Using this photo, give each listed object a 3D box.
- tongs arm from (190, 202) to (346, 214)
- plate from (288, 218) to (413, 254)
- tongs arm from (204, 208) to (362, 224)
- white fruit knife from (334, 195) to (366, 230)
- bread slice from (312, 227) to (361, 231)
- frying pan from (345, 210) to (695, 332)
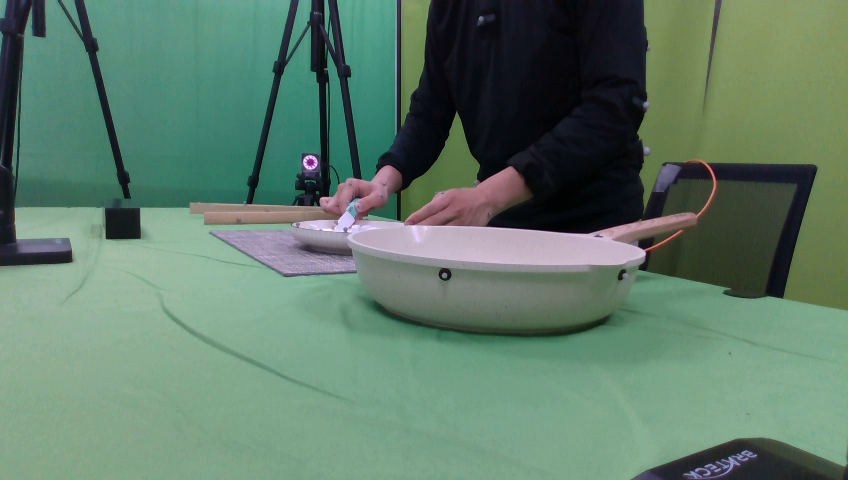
[{"bbox_3d":[-0.334,-0.068,1.403,0.387,0.026,0.050,0,9,-28],"label":"tongs arm"},{"bbox_3d":[-0.109,-0.007,0.956,0.208,0.039,0.207,2,7,0],"label":"plate"},{"bbox_3d":[-0.292,-0.054,1.337,0.390,0.028,0.028,-4,7,-40],"label":"tongs arm"},{"bbox_3d":[-0.122,-0.045,0.994,0.016,0.027,0.207,-29,12,12],"label":"white fruit knife"},{"bbox_3d":[-0.115,-0.006,0.950,0.134,0.018,0.107,2,6,-7],"label":"bread slice"},{"bbox_3d":[0.153,0.009,0.668,0.490,0.102,0.305,-12,15,-32],"label":"frying pan"}]
